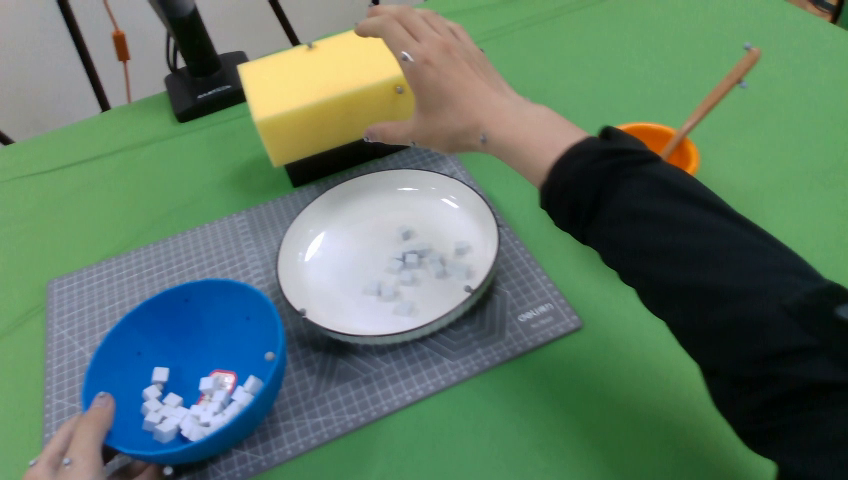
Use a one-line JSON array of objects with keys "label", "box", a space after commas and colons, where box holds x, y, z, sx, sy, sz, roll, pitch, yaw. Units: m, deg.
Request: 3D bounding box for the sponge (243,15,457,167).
[{"label": "sponge", "box": [-0.081, -0.166, 0.661, 0.207, 0.061, 0.117, -20, 48, -9]}]

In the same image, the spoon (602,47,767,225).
[{"label": "spoon", "box": [0.232, -0.090, 0.543, 0.022, 0.194, 0.041, 11, 34, -45]}]

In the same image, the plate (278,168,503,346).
[{"label": "plate", "box": [-0.030, 0.014, 0.566, 0.209, 0.038, 0.207, -5, 48, 6]}]

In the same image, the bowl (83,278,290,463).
[{"label": "bowl", "box": [-0.170, 0.111, 0.474, 0.151, 0.077, 0.150, -5, 47, 6]}]
